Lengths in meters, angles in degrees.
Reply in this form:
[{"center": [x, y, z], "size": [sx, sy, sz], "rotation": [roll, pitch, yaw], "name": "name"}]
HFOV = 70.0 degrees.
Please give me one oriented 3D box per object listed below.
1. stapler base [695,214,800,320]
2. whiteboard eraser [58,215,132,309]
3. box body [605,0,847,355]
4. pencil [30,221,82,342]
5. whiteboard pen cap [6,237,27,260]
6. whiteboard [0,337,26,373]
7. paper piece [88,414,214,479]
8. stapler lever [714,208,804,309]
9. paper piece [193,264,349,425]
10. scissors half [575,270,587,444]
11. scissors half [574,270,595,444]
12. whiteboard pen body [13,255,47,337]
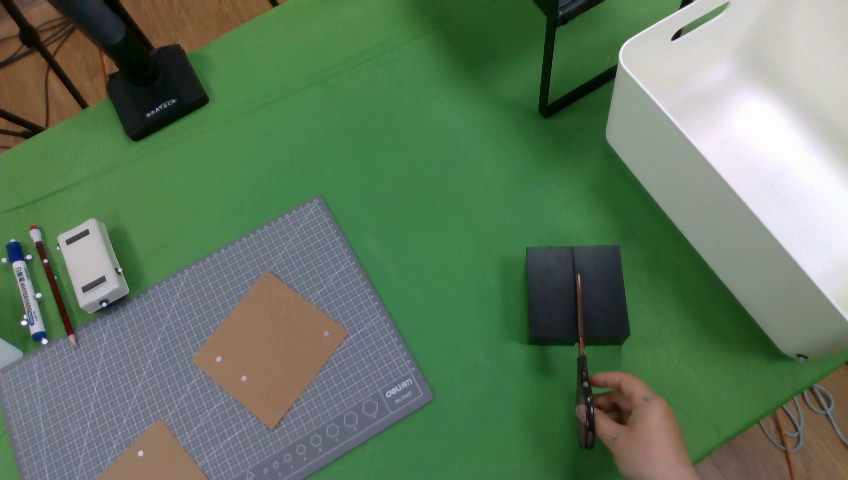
[{"center": [0.357, 0.024, 0.668], "size": [0.041, 0.024, 0.129], "rotation": [-34, 72, -4], "name": "stapler base"}, {"center": [-0.407, 0.027, 0.753], "size": [0.055, 0.042, 0.112], "rotation": [-31, 69, -4], "name": "whiteboard eraser"}, {"center": [0.395, -0.090, 0.638], "size": [0.254, 0.161, 0.361], "rotation": [-30, 69, -5], "name": "box body"}, {"center": [-0.465, 0.050, 0.767], "size": [0.012, 0.012, 0.192], "rotation": [-33, 69, -6], "name": "pencil"}, {"center": [-0.527, 0.013, 0.784], "size": [0.018, 0.018, 0.033], "rotation": [-31, 67, -6], "name": "whiteboard pen cap"}, {"center": [-0.646, 0.060, 0.659], "size": [0.217, 0.309, 0.142], "rotation": [-30, 49, -5], "name": "whiteboard"}, {"center": [-0.301, 0.284, 0.657], "size": [0.135, 0.004, 0.135], "rotation": [-44, 71, -11], "name": "paper piece"}, {"center": [0.356, 0.017, 0.643], "size": [0.027, 0.040, 0.117], "rotation": [-34, 73, -4], "name": "stapler lever"}, {"center": [-0.180, 0.118, 0.707], "size": [0.137, 0.009, 0.136], "rotation": [35, 81, 15], "name": "paper piece"}, {"center": [0.159, 0.118, 0.620], "size": [0.013, 0.040, 0.174], "rotation": [-1, 81, 3], "name": "scissors half"}, {"center": [0.157, 0.111, 0.601], "size": [0.013, 0.040, 0.174], "rotation": [-3, 64, 8], "name": "scissors half"}, {"center": [-0.500, 0.060, 0.763], "size": [0.017, 0.017, 0.139], "rotation": [-29, 68, -5], "name": "whiteboard pen body"}]
